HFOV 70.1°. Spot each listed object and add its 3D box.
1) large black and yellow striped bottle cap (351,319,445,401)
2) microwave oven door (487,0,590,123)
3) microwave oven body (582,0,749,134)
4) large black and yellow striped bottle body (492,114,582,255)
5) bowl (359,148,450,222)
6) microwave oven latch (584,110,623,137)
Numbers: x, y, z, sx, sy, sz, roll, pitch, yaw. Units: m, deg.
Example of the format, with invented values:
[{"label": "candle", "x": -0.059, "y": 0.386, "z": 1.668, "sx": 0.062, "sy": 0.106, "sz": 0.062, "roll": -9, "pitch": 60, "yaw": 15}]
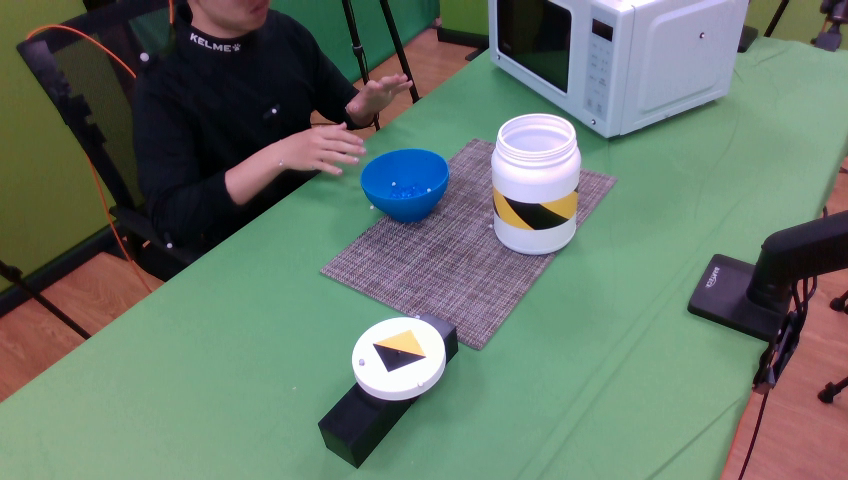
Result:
[{"label": "large black and yellow striped bottle cap", "x": -0.031, "y": 0.143, "z": 0.735, "sx": 0.115, "sy": 0.019, "sz": 0.114, "roll": -3, "pitch": 40, "yaw": 3}, {"label": "microwave oven door", "x": 0.232, "y": -0.420, "z": 1.230, "sx": 0.039, "sy": 0.245, "sz": 0.352, "roll": -22, "pitch": 43, "yaw": -16}, {"label": "microwave oven body", "x": 0.382, "y": -0.444, "z": 1.246, "sx": 0.327, "sy": 0.261, "sz": 0.437, "roll": -22, "pitch": 42, "yaw": -16}, {"label": "large black and yellow striped bottle body", "x": 0.169, "y": -0.084, "z": 0.912, "sx": 0.131, "sy": 0.185, "sz": 0.130, "roll": -4, "pitch": 41, "yaw": 4}, {"label": "bowl", "x": -0.029, "y": -0.083, "z": 1.022, "sx": 0.151, "sy": 0.077, "sz": 0.150, "roll": -4, "pitch": 40, "yaw": 4}, {"label": "microwave oven latch", "x": 0.337, "y": -0.222, "z": 1.142, "sx": 0.030, "sy": 0.029, "sz": 0.078, "roll": -21, "pitch": 42, "yaw": -14}]
